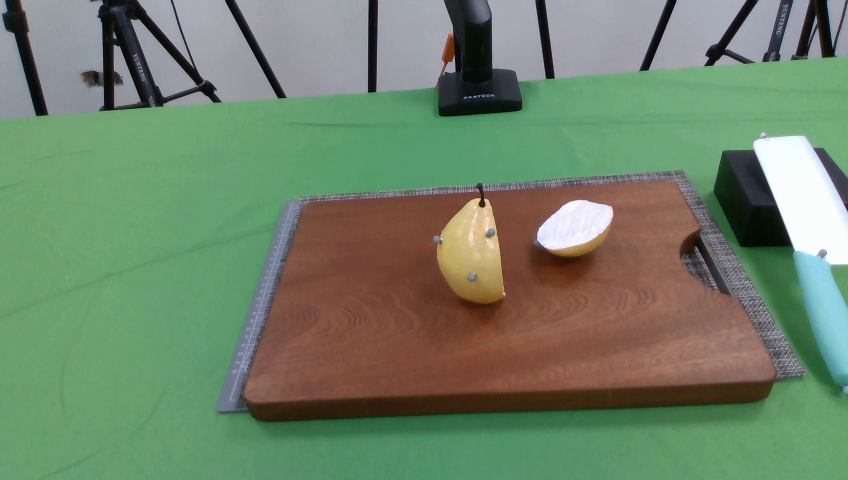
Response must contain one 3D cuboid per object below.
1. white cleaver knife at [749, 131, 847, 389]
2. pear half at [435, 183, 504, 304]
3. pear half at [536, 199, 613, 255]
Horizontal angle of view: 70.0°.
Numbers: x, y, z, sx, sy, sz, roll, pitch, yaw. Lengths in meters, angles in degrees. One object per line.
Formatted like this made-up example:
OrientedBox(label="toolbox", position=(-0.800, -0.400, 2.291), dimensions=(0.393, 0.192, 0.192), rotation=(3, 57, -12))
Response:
OrientedBox(label="white cleaver knife", position=(0.347, -0.001, 0.526), dimensions=(0.066, 0.022, 0.284), rotation=(-1, 53, 10))
OrientedBox(label="pear half", position=(0.036, 0.001, 0.504), dimensions=(0.056, 0.111, 0.075), rotation=(-10, 34, -3))
OrientedBox(label="pear half", position=(0.141, -0.008, 0.561), dimensions=(0.070, 0.031, 0.087), rotation=(-10, 22, 20))
